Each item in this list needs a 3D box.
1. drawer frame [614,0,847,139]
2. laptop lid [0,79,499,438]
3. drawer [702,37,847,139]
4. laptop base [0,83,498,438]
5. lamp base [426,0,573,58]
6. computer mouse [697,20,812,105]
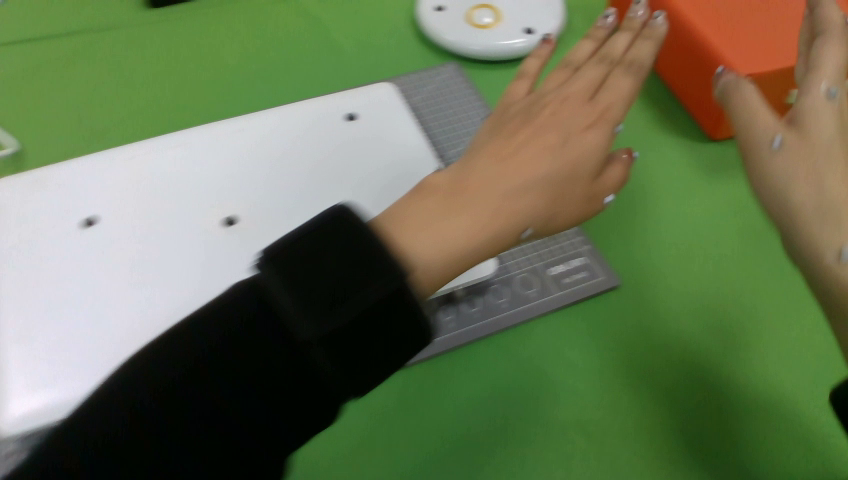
[{"bbox_3d":[0.329,-0.210,0.595,0.202,0.083,0.211,-14,54,-9],"label":"drawer frame"},{"bbox_3d":[-0.145,-0.014,0.473,0.357,0.013,0.239,-16,57,-12],"label":"laptop lid"},{"bbox_3d":[0.330,-0.208,0.594,0.195,0.074,0.209,-13,54,-9],"label":"drawer"},{"bbox_3d":[-0.146,-0.009,0.483,0.355,0.023,0.233,-17,58,-13],"label":"laptop base"},{"bbox_3d":[0.083,-0.308,0.607,0.160,0.182,0.178,10,51,8],"label":"lamp base"},{"bbox_3d":[0.321,-0.180,0.589,0.063,0.041,0.116,-11,53,-11],"label":"computer mouse"}]
